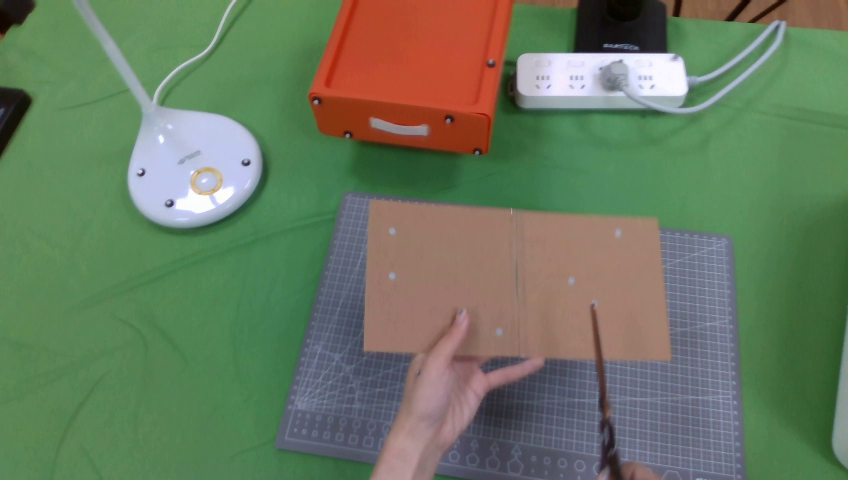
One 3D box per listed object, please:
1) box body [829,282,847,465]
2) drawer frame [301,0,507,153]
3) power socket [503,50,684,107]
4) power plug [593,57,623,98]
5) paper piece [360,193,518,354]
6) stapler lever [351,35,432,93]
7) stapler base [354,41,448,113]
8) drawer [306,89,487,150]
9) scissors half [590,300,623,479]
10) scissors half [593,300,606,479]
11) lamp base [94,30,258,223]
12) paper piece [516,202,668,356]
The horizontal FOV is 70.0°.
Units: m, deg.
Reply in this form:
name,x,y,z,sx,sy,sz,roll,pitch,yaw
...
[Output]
name,x,y,z,sx,sy,sz,roll,pitch,yaw
box body,0.546,0.069,0.546,0.253,0.161,0.362,20,66,12
drawer frame,-0.014,-0.220,0.711,0.201,0.083,0.212,8,63,7
power socket,0.215,-0.206,0.771,0.226,0.033,0.071,2,64,3
power plug,0.222,-0.190,0.737,0.035,0.053,0.072,11,65,8
paper piece,0.015,0.027,0.523,0.136,0.009,0.137,3,77,-6
stapler lever,-0.039,-0.206,0.698,0.117,0.040,0.027,36,86,23
stapler base,-0.031,-0.199,0.722,0.129,0.024,0.041,37,87,21
drawer,-0.013,-0.217,0.710,0.194,0.074,0.210,8,63,7
scissors half,0.133,0.129,0.444,0.013,0.040,0.174,-3,70,4
scissors half,0.136,0.133,0.463,0.013,0.040,0.175,-3,87,9
lamp base,-0.295,-0.134,0.674,0.178,0.182,0.160,38,71,22
paper piece,0.147,0.034,0.538,0.135,0.004,0.135,3,75,-4
